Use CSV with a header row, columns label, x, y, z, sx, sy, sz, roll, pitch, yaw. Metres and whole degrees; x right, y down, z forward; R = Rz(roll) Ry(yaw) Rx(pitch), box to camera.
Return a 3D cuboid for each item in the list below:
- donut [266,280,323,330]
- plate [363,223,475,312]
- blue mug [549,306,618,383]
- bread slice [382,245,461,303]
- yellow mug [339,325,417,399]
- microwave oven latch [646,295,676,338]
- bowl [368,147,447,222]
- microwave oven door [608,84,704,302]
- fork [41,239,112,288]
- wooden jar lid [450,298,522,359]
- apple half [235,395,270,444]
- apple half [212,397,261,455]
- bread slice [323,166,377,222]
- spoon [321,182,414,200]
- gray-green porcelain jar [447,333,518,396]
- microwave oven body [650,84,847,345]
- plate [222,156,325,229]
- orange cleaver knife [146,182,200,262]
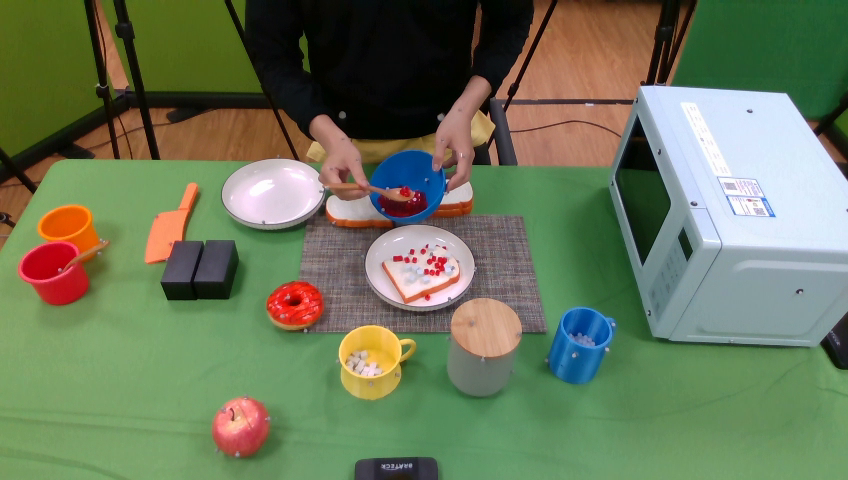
label,x,y,z,sx,sy,sz,roll,pitch,yaw
donut,-0.223,0.113,1.051,0.099,0.048,0.098,2,46,-2
plate,-0.009,0.054,1.126,0.208,0.039,0.206,2,46,-2
blue mug,0.269,0.167,0.997,0.116,0.106,0.082,-19,51,-21
bread slice,0.001,0.055,1.129,0.131,0.019,0.104,-21,52,-19
yellow mug,-0.072,0.190,0.978,0.131,0.064,0.099,-17,50,-20
microwave oven latch,0.413,0.133,1.060,0.030,0.029,0.078,4,46,1
bowl,-0.022,-0.092,1.154,0.151,0.077,0.150,-7,63,14
microwave oven door,0.424,-0.096,1.138,0.039,0.245,0.353,2,46,-1
fork,-0.591,0.040,1.028,0.207,0.019,0.028,-27,37,29
wooden jar lid,0.093,0.135,0.914,0.108,0.021,0.107,3,48,-3
apple half,-0.245,0.260,0.893,0.033,0.082,0.081,-29,55,-22
apple half,-0.276,0.276,0.877,0.053,0.075,0.080,-29,58,-21
bread slice,-0.140,-0.092,1.224,0.134,0.018,0.106,-19,51,6
spoon,-0.095,-0.089,1.047,0.194,0.022,0.041,5,33,-44
gray-green porcelain jar,0.091,0.178,0.960,0.106,0.127,0.105,2,46,-2
microwave oven body,0.569,-0.054,1.116,0.326,0.261,0.439,2,46,-1
plate,-0.308,-0.095,1.251,0.209,0.038,0.208,3,47,-3
orange cleaver knife,-0.494,-0.039,1.198,0.077,0.012,0.210,-3,48,2
